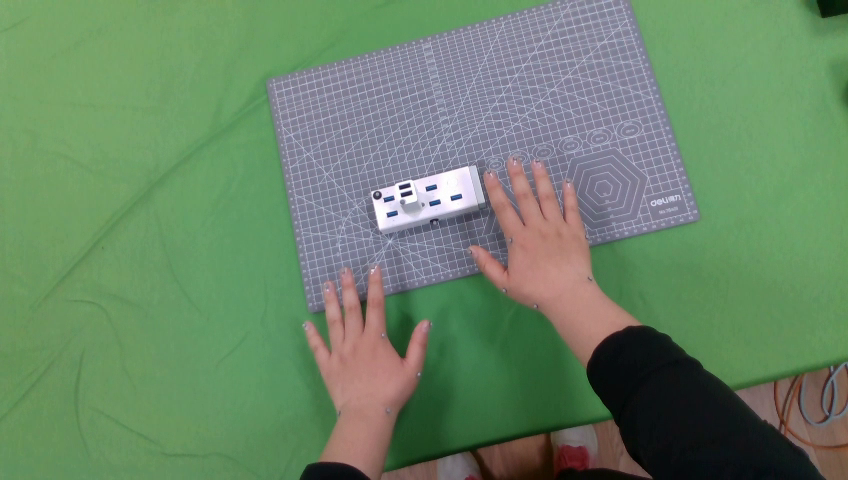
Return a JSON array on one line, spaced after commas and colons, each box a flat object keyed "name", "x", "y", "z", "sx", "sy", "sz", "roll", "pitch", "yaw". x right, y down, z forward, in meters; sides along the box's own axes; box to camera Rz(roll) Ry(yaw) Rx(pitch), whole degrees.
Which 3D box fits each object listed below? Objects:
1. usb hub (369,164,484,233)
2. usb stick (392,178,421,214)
[{"name": "usb hub", "x": 0.002, "y": -0.048, "z": 0.692, "sx": 0.125, "sy": 0.025, "sz": 0.049, "roll": -14, "pitch": 77, "yaw": 4}, {"name": "usb stick", "x": -0.018, "y": -0.045, "z": 0.665, "sx": 0.021, "sy": 0.059, "sz": 0.027, "roll": -18, "pitch": 75, "yaw": 4}]
